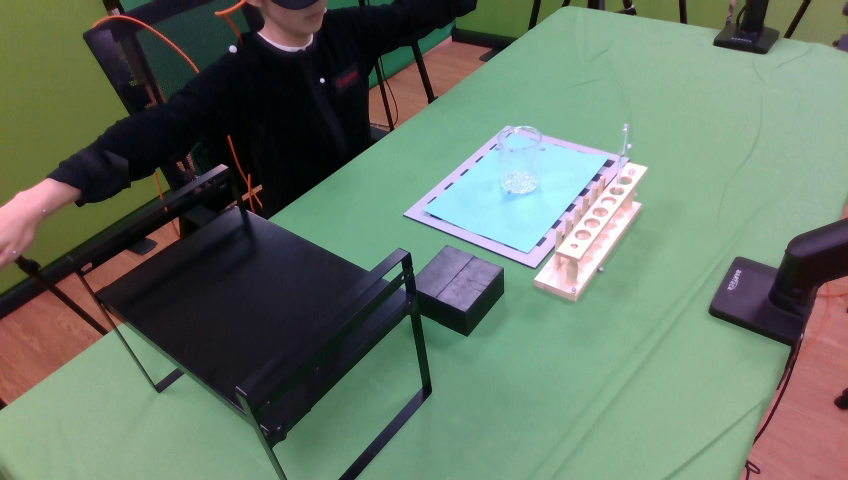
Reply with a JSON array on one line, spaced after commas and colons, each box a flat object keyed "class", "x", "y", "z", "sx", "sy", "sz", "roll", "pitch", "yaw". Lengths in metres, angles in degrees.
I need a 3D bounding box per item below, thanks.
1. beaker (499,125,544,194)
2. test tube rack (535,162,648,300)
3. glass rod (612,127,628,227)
[{"class": "beaker", "x": 0.168, "y": -0.138, "z": 1.046, "sx": 0.074, "sy": 0.101, "sz": 0.083, "roll": -8, "pitch": 40, "yaw": 0}, {"class": "test tube rack", "x": 0.257, "y": -0.024, "z": 0.916, "sx": 0.066, "sy": 0.085, "sz": 0.243, "roll": 22, "pitch": 49, "yaw": 30}, {"class": "glass rod", "x": 0.285, "y": -0.086, "z": 0.882, "sx": 0.008, "sy": 0.201, "sz": 0.008, "roll": -6, "pitch": 50, "yaw": 7}]
